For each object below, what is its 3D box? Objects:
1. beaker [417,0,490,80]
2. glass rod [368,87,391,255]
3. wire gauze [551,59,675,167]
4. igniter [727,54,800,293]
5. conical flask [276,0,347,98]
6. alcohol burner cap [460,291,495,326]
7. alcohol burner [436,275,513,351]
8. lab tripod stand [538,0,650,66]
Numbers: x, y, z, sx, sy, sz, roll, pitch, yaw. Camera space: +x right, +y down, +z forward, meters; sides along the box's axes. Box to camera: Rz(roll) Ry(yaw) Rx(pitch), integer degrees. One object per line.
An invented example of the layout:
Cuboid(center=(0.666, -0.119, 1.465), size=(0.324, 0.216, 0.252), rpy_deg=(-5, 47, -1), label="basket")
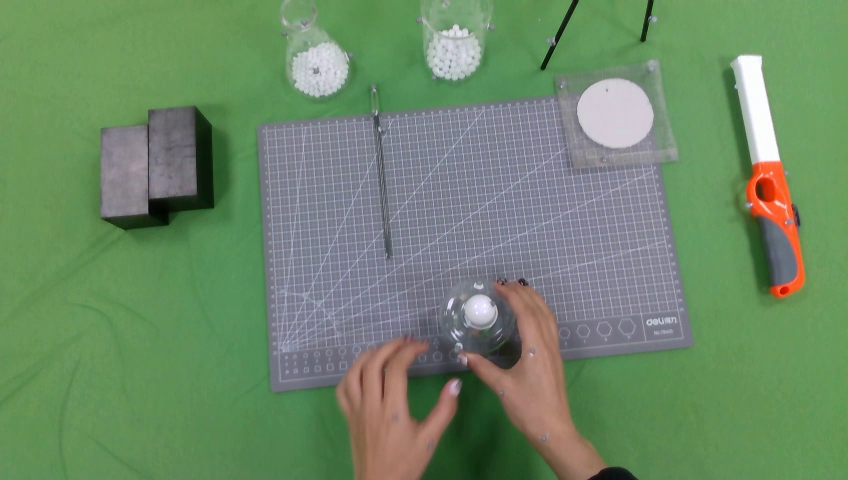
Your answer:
Cuboid(center=(0.030, -0.232, 0.669), size=(0.074, 0.100, 0.083), rpy_deg=(-4, 77, -1), label="beaker")
Cuboid(center=(-0.051, -0.081, 0.680), size=(0.008, 0.008, 0.198), rpy_deg=(-6, 78, -2), label="glass rod")
Cuboid(center=(0.217, -0.146, 0.696), size=(0.125, 0.011, 0.121), rpy_deg=(-7, 79, -2), label="wire gauze")
Cuboid(center=(0.378, -0.078, 0.676), size=(0.057, 0.025, 0.275), rpy_deg=(-2, 79, -11), label="igniter")
Cuboid(center=(-0.127, -0.211, 0.652), size=(0.075, 0.122, 0.075), rpy_deg=(0, 78, 0), label="conical flask")
Cuboid(center=(0.050, 0.062, 0.563), size=(0.034, 0.048, 0.033), rpy_deg=(-1, 78, 5), label="alcohol burner cap")
Cuboid(center=(0.051, 0.071, 0.598), size=(0.078, 0.119, 0.077), rpy_deg=(0, 80, 1), label="alcohol burner")
Cuboid(center=(0.186, -0.268, 0.659), size=(0.148, 0.132, 0.148), rpy_deg=(0, 80, 0), label="lab tripod stand")
